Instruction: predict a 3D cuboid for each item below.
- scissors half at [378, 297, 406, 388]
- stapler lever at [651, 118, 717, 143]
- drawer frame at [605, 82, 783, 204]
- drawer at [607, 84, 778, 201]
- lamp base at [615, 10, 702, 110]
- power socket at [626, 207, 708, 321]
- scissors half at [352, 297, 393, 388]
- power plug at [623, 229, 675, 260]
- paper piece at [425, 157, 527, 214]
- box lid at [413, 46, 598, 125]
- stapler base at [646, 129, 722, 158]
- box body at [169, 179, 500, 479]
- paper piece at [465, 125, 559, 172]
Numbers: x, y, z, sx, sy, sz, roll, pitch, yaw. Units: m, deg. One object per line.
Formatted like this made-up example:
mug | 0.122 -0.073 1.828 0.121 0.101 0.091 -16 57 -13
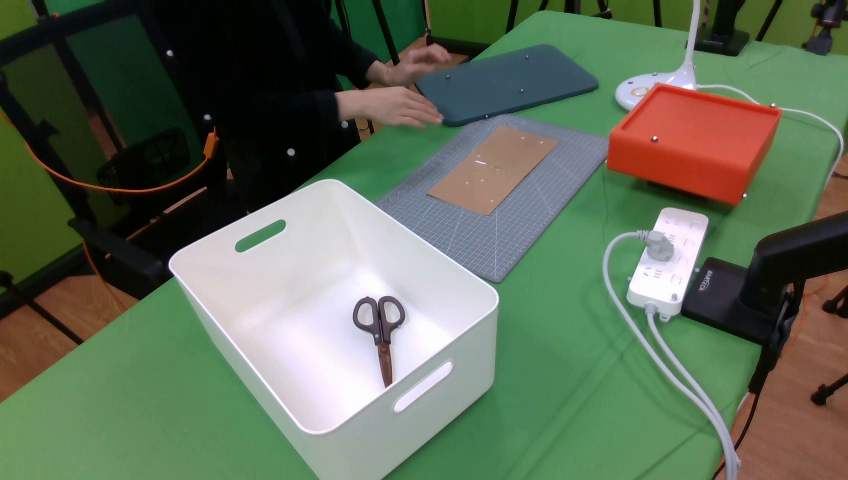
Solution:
scissors half | -0.045 0.142 0.818 0.040 0.013 0.174 6 40 -6
stapler lever | 0.436 -0.192 1.014 0.118 0.040 0.026 -15 25 -16
drawer frame | 0.441 -0.167 0.995 0.212 0.083 0.202 23 48 30
drawer | 0.438 -0.167 0.996 0.210 0.073 0.195 23 48 30
lamp base | 0.484 -0.364 1.211 0.180 0.181 0.159 -15 41 -14
power socket | 0.360 0.026 0.886 0.072 0.033 0.227 16 46 26
scissors half | -0.065 0.142 0.815 0.040 0.013 0.174 -10 42 -15
power plug | 0.327 0.007 0.878 0.072 0.053 0.035 25 50 32
paper piece | 0.095 -0.103 1.089 0.134 0.004 0.136 22 48 30
box lid | 0.177 -0.360 1.382 0.373 0.015 0.261 -16 40 -11
stapler base | 0.439 -0.167 1.023 0.131 0.024 0.041 -17 25 -15
box body | -0.110 0.103 0.761 0.255 0.161 0.361 -33 46 -27
paper piece | 0.171 -0.177 1.167 0.137 0.009 0.136 21 44 31
